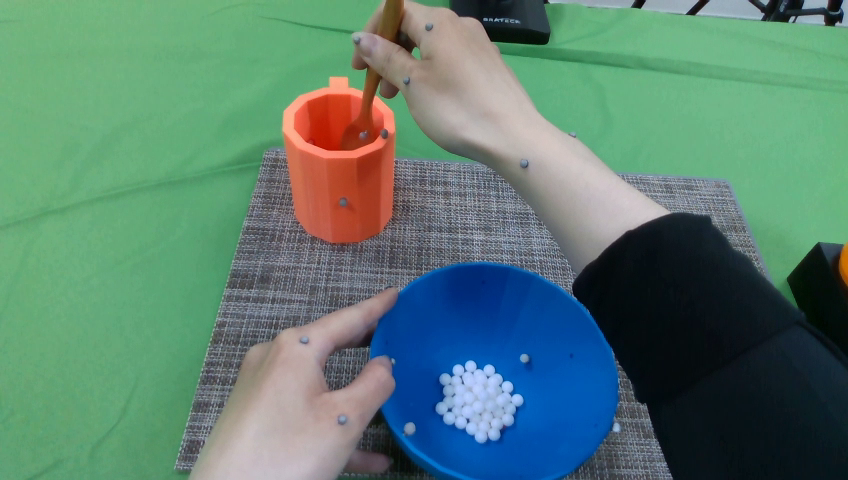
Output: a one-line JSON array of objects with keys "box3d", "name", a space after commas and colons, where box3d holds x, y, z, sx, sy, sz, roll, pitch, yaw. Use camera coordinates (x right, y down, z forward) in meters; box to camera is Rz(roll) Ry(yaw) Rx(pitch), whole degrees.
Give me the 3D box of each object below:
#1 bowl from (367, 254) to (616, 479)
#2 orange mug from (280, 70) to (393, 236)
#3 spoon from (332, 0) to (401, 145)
[{"box3d": [0.038, 0.091, 0.391, 0.151, 0.077, 0.150, 3, 50, -4], "name": "bowl"}, {"box3d": [-0.072, -0.080, 0.507, 0.083, 0.101, 0.125, -3, 56, -8], "name": "orange mug"}, {"box3d": [-0.042, -0.109, 0.443, 0.041, 0.194, 0.021, 44, 65, 5], "name": "spoon"}]
